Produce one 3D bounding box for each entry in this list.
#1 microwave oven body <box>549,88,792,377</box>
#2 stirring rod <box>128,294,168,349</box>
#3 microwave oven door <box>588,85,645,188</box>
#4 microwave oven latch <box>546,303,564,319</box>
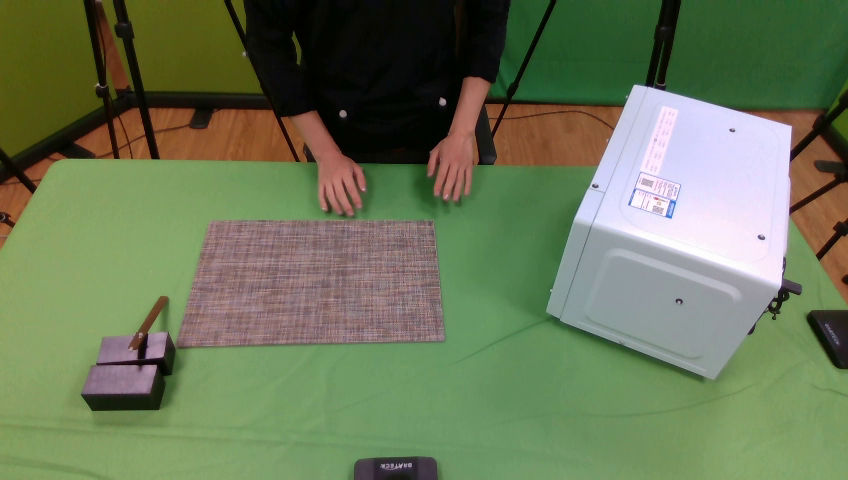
[{"bbox_3d":[0.456,-0.028,1.088,0.325,0.261,0.440,20,47,16],"label":"microwave oven body"},{"bbox_3d":[-0.451,0.131,0.996,0.014,0.006,0.175,9,21,-10],"label":"stirring rod"},{"bbox_3d":[0.342,-0.107,1.149,0.039,0.245,0.354,20,48,15],"label":"microwave oven door"},{"bbox_3d":[0.242,0.102,1.081,0.030,0.029,0.079,21,48,17],"label":"microwave oven latch"}]
